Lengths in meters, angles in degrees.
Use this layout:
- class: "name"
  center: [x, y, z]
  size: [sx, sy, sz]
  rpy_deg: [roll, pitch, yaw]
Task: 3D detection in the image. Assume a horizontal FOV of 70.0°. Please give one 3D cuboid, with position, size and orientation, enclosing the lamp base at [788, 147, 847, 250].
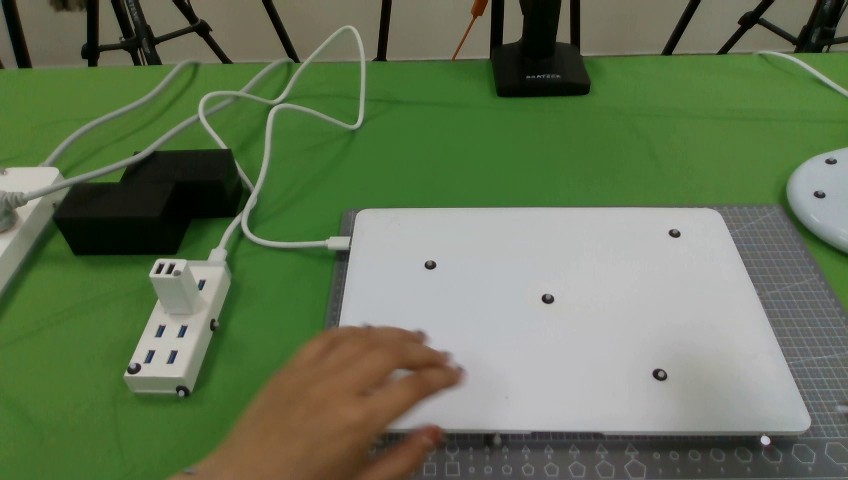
- class: "lamp base"
  center: [0.453, -0.097, 0.556]
  size: [0.159, 0.182, 0.178]
  rpy_deg: [23, 47, 23]

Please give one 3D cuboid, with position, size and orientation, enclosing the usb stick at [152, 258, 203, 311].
- class: "usb stick"
  center: [-0.201, 0.042, 0.500]
  size: [0.027, 0.060, 0.021]
  rpy_deg: [-1, 44, 3]

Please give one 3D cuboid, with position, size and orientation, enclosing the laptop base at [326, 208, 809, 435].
- class: "laptop base"
  center: [0.106, 0.060, 0.521]
  size: [0.354, 0.023, 0.233]
  rpy_deg: [0, 48, 1]

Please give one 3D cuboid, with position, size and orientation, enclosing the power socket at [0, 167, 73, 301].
- class: "power socket"
  center: [-0.416, 0.003, 0.581]
  size: [0.072, 0.033, 0.224]
  rpy_deg: [1, 44, 1]

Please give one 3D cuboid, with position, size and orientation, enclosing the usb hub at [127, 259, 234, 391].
- class: "usb hub"
  center: [-0.203, 0.068, 0.516]
  size: [0.049, 0.025, 0.124]
  rpy_deg: [0, 44, 3]

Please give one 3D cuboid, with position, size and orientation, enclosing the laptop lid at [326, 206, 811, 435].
- class: "laptop lid"
  center: [0.106, 0.053, 0.511]
  size: [0.356, 0.013, 0.239]
  rpy_deg: [1, 47, 3]

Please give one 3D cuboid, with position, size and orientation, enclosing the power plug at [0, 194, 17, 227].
- class: "power plug"
  center: [-0.413, -0.035, 0.589]
  size: [0.035, 0.053, 0.072]
  rpy_deg: [-4, 36, -17]
